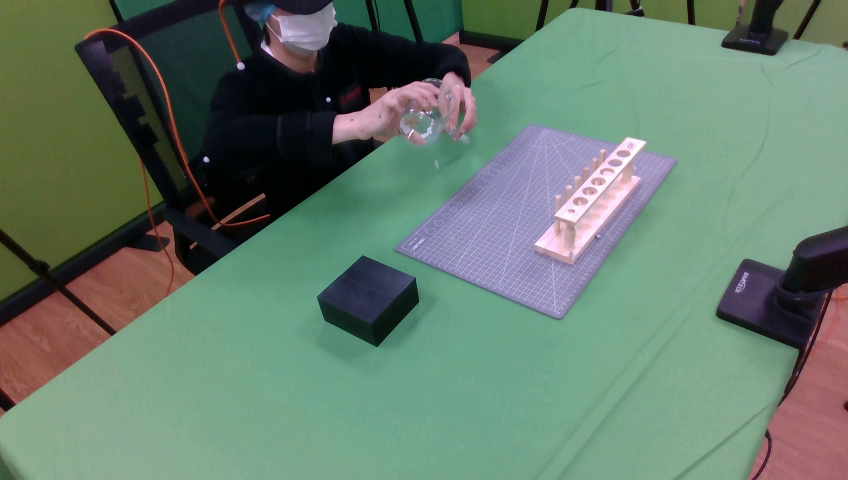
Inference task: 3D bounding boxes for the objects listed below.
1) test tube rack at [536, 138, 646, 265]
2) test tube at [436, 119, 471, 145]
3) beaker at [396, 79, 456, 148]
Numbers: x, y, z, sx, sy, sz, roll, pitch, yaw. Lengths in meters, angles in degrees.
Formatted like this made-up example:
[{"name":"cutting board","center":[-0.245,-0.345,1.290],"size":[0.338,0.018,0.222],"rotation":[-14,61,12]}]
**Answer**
[{"name":"test tube rack","center":[0.268,-0.071,0.964],"size":[0.066,0.085,0.243],"rotation":[23,49,32]},{"name":"test tube","center":[0.057,-0.193,1.092],"size":[0.017,0.017,0.151],"rotation":[13,1,23]},{"name":"beaker","center":[0.003,-0.198,0.969],"size":[0.073,0.084,0.100],"rotation":[-2,39,26]}]
